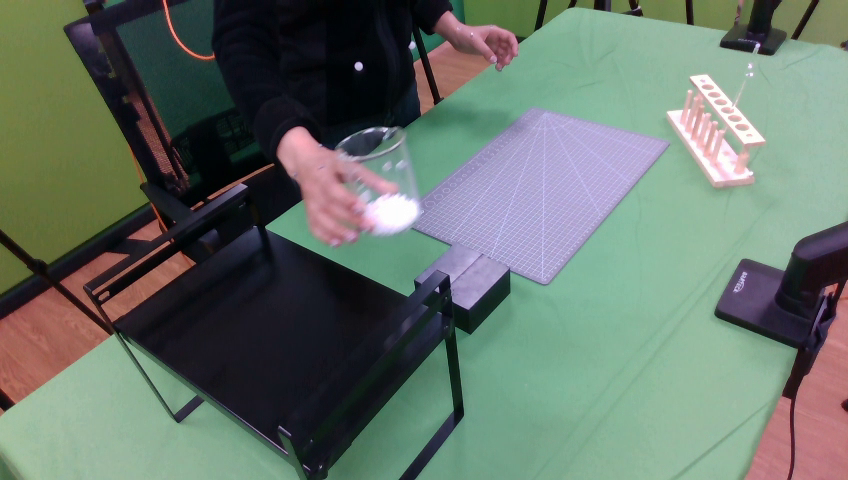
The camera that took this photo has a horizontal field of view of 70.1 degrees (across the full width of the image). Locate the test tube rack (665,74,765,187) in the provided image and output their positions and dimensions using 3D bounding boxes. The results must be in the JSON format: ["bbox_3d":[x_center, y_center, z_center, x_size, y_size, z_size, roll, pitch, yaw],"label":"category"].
[{"bbox_3d":[0.512,-0.201,1.082,0.067,0.085,0.241,-6,41,2],"label":"test tube rack"}]

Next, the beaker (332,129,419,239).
[{"bbox_3d":[-0.047,-0.060,0.645,0.073,0.101,0.084,3,35,24],"label":"beaker"}]

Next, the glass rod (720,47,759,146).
[{"bbox_3d":[0.527,-0.234,1.018,0.008,0.200,0.008,-2,49,3],"label":"glass rod"}]
